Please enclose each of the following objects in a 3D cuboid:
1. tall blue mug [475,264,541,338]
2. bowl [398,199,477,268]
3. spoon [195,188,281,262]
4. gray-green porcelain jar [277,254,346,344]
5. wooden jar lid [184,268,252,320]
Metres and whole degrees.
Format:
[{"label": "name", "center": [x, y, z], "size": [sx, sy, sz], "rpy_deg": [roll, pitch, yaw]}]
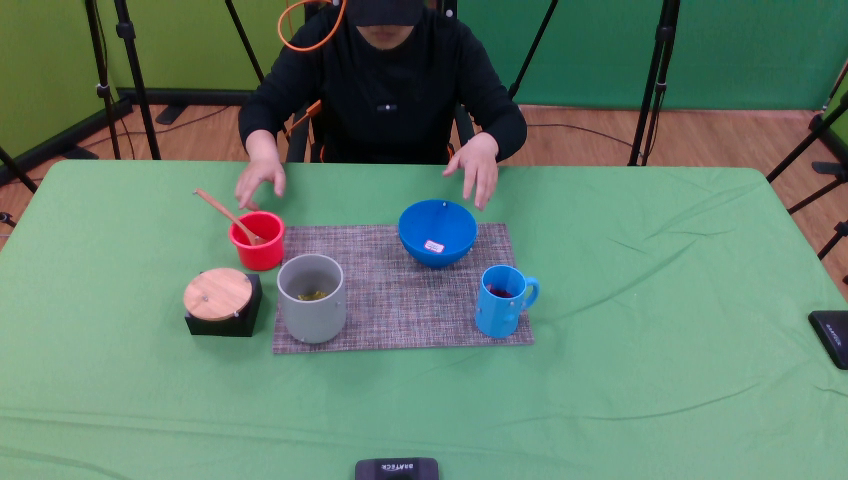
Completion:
[{"label": "tall blue mug", "center": [0.141, 0.098, 1.047], "size": [0.077, 0.108, 0.107], "rpy_deg": [33, 52, 27]}, {"label": "bowl", "center": [0.024, 0.000, 1.156], "size": [0.151, 0.077, 0.150], "rpy_deg": [2, 46, -2]}, {"label": "spoon", "center": [-0.342, -0.028, 1.117], "size": [0.194, 0.021, 0.041], "rpy_deg": [47, 48, -20]}, {"label": "gray-green porcelain jar", "center": [-0.184, 0.102, 1.008], "size": [0.106, 0.127, 0.105], "rpy_deg": [2, 46, -2]}, {"label": "wooden jar lid", "center": [-0.343, 0.092, 1.015], "size": [0.108, 0.021, 0.107], "rpy_deg": [3, 46, -3]}]
